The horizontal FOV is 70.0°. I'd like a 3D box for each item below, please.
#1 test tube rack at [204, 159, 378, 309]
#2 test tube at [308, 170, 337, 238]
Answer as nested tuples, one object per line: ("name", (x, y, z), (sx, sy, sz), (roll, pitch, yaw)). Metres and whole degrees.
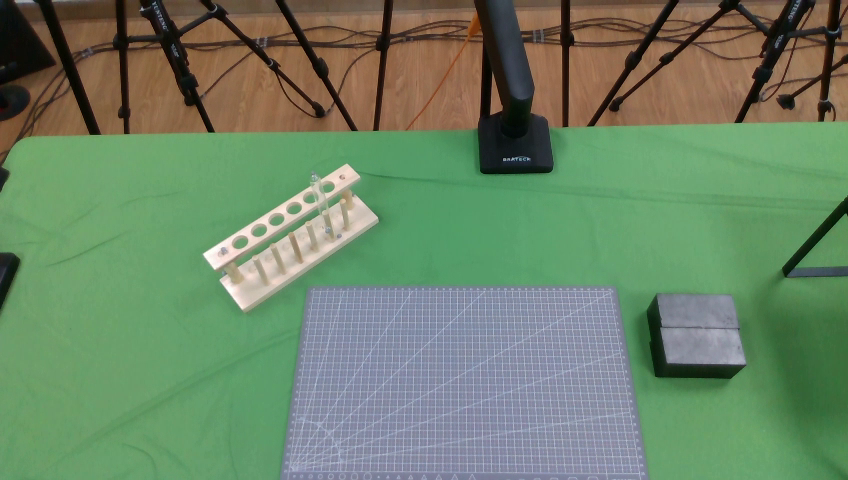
("test tube rack", (-0.186, -0.010, 0.886), (0.242, 0.086, 0.066), (-36, 63, -19))
("test tube", (-0.143, -0.048, 0.855), (0.017, 0.151, 0.017), (-1, 57, 2))
